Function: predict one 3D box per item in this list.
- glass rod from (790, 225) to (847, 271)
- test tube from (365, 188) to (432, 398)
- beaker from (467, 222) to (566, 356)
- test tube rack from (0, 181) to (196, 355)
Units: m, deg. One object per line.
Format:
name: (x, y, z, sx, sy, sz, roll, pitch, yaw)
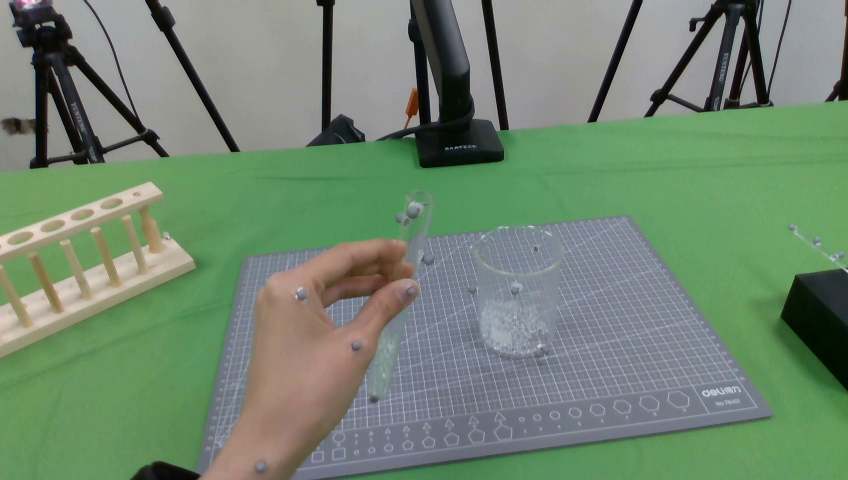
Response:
glass rod: (0.387, 0.040, 0.514, 0.008, 0.008, 0.197, -12, 36, -11)
test tube: (-0.017, 0.038, 0.357, 0.017, 0.151, 0.017, 10, 31, -6)
beaker: (0.079, 0.046, 0.535, 0.083, 0.101, 0.073, 7, 36, 16)
test tube rack: (-0.367, 0.031, 0.606, 0.242, 0.086, 0.066, -28, 43, -31)
